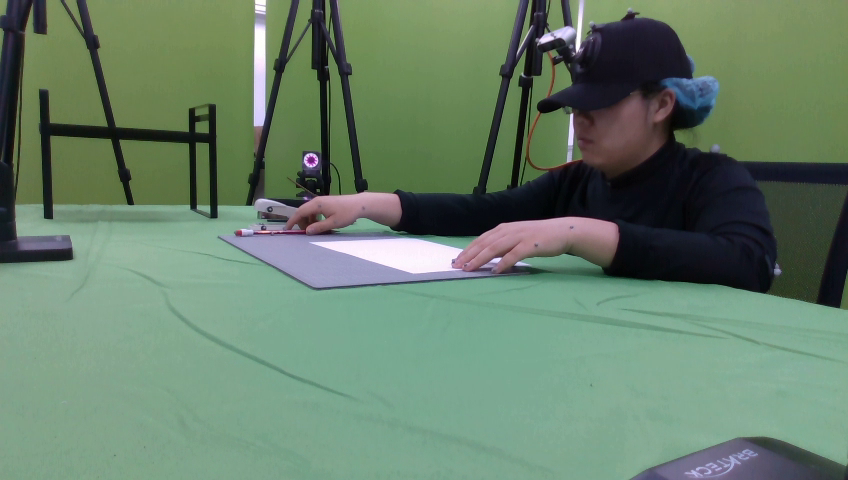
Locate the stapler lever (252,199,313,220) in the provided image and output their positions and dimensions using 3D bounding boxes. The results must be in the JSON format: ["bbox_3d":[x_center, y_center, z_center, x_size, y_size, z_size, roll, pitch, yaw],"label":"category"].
[{"bbox_3d":[-0.273,-0.058,1.170,0.119,0.040,0.026,0,10,-37],"label":"stapler lever"}]

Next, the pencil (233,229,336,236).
[{"bbox_3d":[-0.240,-0.013,1.065,0.195,0.012,0.012,0,8,-37],"label":"pencil"}]

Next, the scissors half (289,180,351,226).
[{"bbox_3d":[-0.232,-0.085,1.317,0.175,0.013,0.040,38,20,4],"label":"scissors half"}]

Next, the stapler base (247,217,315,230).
[{"bbox_3d":[-0.276,-0.033,1.172,0.131,0.024,0.041,0,11,-37],"label":"stapler base"}]

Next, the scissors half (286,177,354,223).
[{"bbox_3d":[-0.229,-0.090,1.337,0.175,0.013,0.040,33,15,-13],"label":"scissors half"}]
